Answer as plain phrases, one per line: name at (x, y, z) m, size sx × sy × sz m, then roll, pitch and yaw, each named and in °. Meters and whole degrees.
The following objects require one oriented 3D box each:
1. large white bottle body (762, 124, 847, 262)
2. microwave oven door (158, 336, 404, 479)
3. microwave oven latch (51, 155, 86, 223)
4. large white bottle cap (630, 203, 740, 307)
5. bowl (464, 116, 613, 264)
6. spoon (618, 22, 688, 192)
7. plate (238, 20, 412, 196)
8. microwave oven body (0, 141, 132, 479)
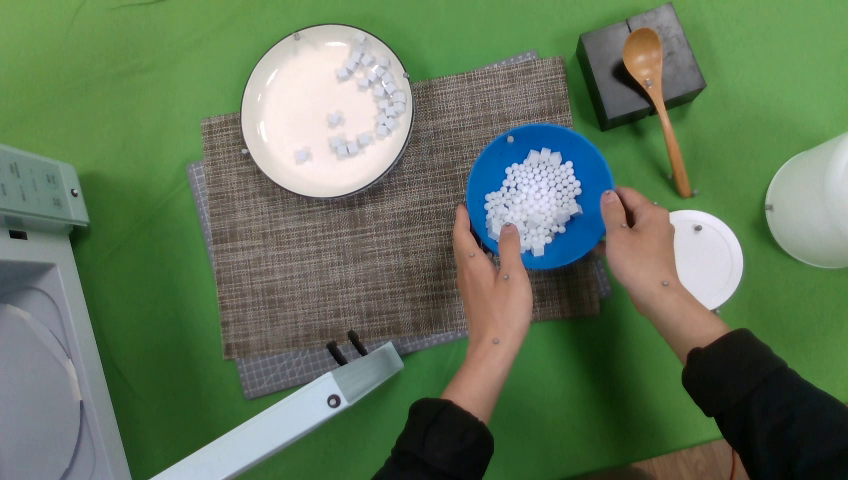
large white bottle body at (0.419, -0.048, 0.568) m, size 0.130 × 0.185 × 0.130 m, roll -1°, pitch 86°, yaw 8°
microwave oven door at (-0.197, 0.209, 0.590) m, size 0.356 × 0.244 × 0.039 m, roll -32°, pitch 82°, yaw 5°
microwave oven latch at (-0.442, -0.062, 0.740) m, size 0.030 × 0.029 × 0.079 m, roll -18°, pitch 85°, yaw 6°
large white bottle cap at (0.287, 0.017, 0.666) m, size 0.115 × 0.018 × 0.114 m, roll 0°, pitch 86°, yaw 5°
bowl at (0.117, -0.047, 0.647) m, size 0.151 × 0.077 × 0.151 m, roll 0°, pitch 86°, yaw 3°
spoon at (0.249, -0.136, 0.643) m, size 0.041 × 0.021 × 0.195 m, roll -24°, pitch 106°, yaw 3°
plate at (-0.114, -0.152, 0.716) m, size 0.209 × 0.038 × 0.208 m, roll -1°, pitch 85°, yaw 8°
microwave oven body at (-0.541, 0.145, 0.644) m, size 0.326 × 0.261 × 0.440 m, roll -19°, pitch 85°, yaw 6°
